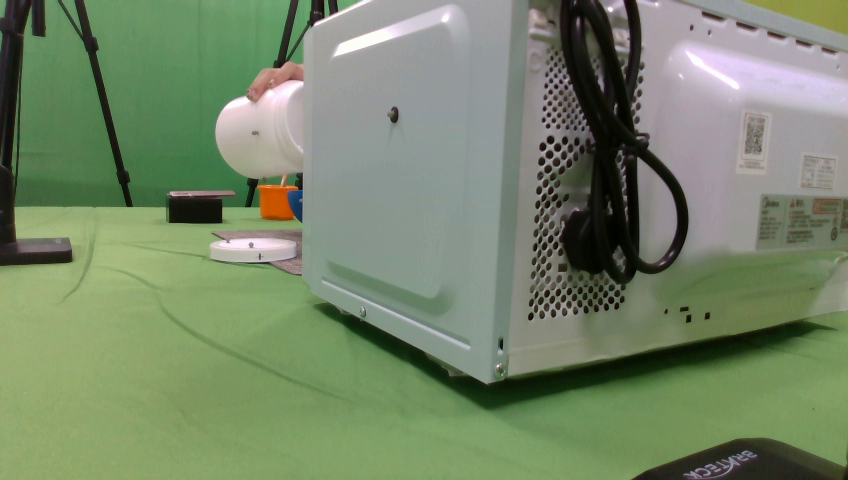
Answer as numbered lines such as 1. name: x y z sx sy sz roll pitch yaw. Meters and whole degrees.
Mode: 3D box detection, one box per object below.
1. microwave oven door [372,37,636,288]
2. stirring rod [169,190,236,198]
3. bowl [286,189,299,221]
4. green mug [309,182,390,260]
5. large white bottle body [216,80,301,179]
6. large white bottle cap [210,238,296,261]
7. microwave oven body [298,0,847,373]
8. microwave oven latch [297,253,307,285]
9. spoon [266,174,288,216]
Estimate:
1. microwave oven door: 0.110 -0.080 0.687 0.358 0.243 0.039 -2 9 -33
2. stirring rod: -0.465 -0.098 1.283 0.014 0.006 0.177 42 22 17
3. bowl: -0.179 -0.051 1.115 0.151 0.077 0.151 3 8 0
4. green mug: -0.102 -0.029 0.864 0.126 0.105 0.092 -4 9 -40
5. large white bottle body: -0.210 -0.162 0.900 0.131 0.130 0.183 -5 2 -44
6. large white bottle cap: -0.236 0.013 0.839 0.115 0.018 0.115 2 7 0
7. microwave oven body: 0.151 -0.055 0.543 0.444 0.260 0.324 -2 7 -33
8. microwave oven latch: -0.082 0.027 0.582 0.079 0.029 0.030 -1 7 -32
9. spoon: -0.333 -0.127 1.424 0.041 0.193 0.022 -1 -37 8
